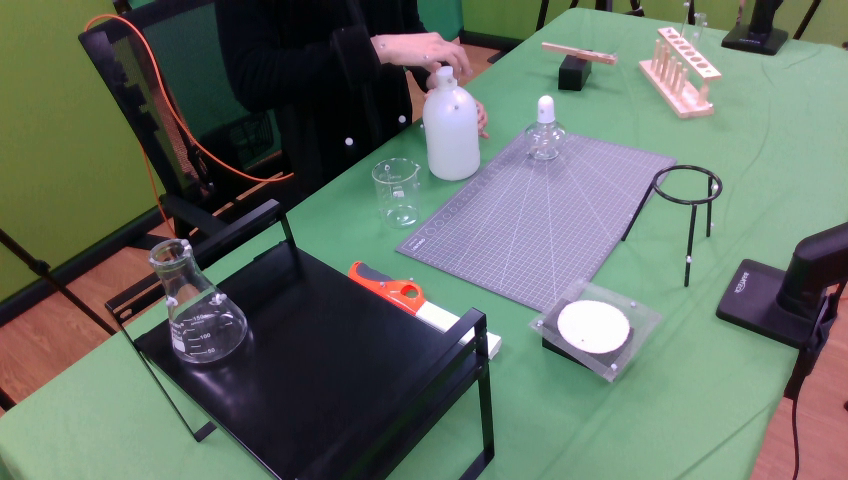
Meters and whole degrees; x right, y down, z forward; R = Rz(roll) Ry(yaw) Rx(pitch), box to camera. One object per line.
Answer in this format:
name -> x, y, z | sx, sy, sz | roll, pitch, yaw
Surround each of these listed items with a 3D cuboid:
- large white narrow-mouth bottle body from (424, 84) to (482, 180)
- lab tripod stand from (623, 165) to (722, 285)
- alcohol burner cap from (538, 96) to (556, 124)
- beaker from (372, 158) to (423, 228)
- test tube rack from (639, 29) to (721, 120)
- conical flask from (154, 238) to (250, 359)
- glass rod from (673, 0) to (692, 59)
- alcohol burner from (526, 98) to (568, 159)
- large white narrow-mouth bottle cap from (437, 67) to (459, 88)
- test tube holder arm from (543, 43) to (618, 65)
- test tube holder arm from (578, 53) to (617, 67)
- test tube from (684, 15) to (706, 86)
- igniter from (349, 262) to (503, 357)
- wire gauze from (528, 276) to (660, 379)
large white narrow-mouth bottle body -> 0.051, -0.212, 1.091 | 0.102, 0.195, 0.101 | -4, 41, 4
lab tripod stand -> 0.365, -0.030, 0.875 | 0.148, 0.132, 0.147 | -6, 41, 6
alcohol burner cap -> 0.222, -0.237, 1.095 | 0.034, 0.048, 0.033 | -7, 34, 5
beaker -> -0.039, -0.079, 1.022 | 0.084, 0.101, 0.073 | -17, 41, -11
test tube rack -> 0.527, -0.351, 1.262 | 0.067, 0.085, 0.241 | -7, 40, 1
conical flask -> -0.225, 0.055, 0.597 | 0.075, 0.122, 0.075 | -5, 41, 4
glass rod -> 0.537, -0.437, 1.257 | 0.008, 0.200, 0.008 | 0, 39, 1
alcohol burner -> 0.228, -0.210, 1.118 | 0.078, 0.119, 0.077 | -5, 43, 5
large white narrow-mouth bottle cap -> 0.042, -0.278, 1.031 | 0.038, 0.024, 0.037 | -4, 41, 4
test tube holder arm -> 0.345, -0.413, 1.341 | 0.177, 0.015, 0.013 | 25, 50, 31
test tube holder arm -> 0.376, -0.393, 1.314 | 0.087, 0.015, 0.010 | 26, 51, 32
test tube -> 0.541, -0.378, 1.215 | 0.017, 0.151, 0.017 | -2, 44, 3
igniter -> -0.008, 0.093, 0.870 | 0.274, 0.025, 0.057 | 24, 60, 33
wire gauze -> 0.214, 0.103, 0.763 | 0.124, 0.011, 0.122 | 30, 52, 35
